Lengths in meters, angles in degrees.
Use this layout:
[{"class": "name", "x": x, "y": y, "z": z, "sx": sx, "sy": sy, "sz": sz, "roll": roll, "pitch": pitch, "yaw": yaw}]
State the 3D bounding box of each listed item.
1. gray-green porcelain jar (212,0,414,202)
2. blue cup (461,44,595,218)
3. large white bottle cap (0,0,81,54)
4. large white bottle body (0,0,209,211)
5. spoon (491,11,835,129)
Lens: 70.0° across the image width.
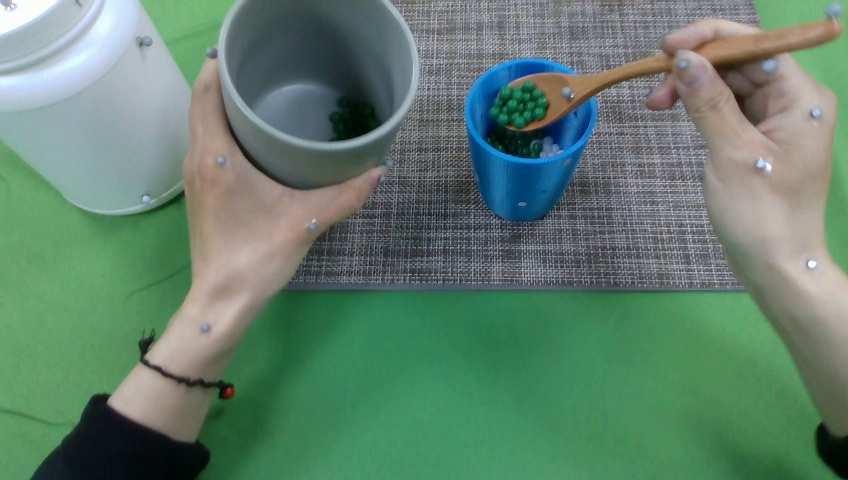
[{"class": "gray-green porcelain jar", "x": -0.070, "y": -0.086, "z": 0.376, "sx": 0.106, "sy": 0.126, "sz": 0.105, "roll": 3, "pitch": 76, "yaw": -13}, {"class": "blue cup", "x": 0.069, "y": -0.065, "z": 0.431, "sx": 0.092, "sy": 0.101, "sz": 0.092, "roll": -2, "pitch": 63, "yaw": 3}, {"class": "large white bottle cap", "x": -0.251, "y": -0.153, "z": 0.349, "sx": 0.115, "sy": 0.018, "sz": 0.114, "roll": -1, "pitch": 65, "yaw": 2}, {"class": "large white bottle body", "x": -0.247, "y": -0.117, "z": 0.425, "sx": 0.130, "sy": 0.186, "sz": 0.129, "roll": -1, "pitch": 64, "yaw": 2}, {"class": "spoon", "x": 0.112, "y": -0.092, "z": 0.332, "sx": 0.022, "sy": 0.192, "sz": 0.041, "roll": 25, "pitch": 74, "yaw": -35}]
